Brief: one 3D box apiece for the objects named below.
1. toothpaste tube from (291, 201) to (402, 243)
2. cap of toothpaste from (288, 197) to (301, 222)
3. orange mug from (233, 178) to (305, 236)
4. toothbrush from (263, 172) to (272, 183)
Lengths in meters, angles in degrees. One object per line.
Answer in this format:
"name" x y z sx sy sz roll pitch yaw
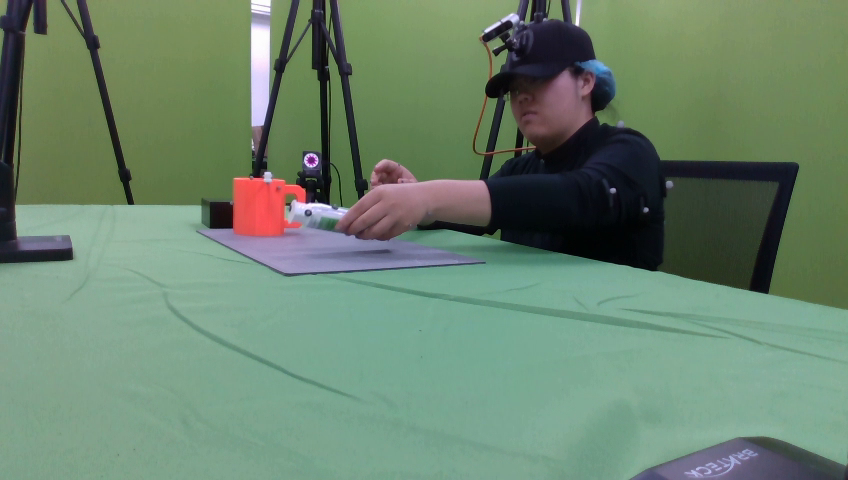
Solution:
"toothpaste tube" -0.115 -0.028 0.887 0.166 0.034 0.055 13 -34 -29
"cap of toothpaste" -0.183 -0.043 0.852 0.011 0.037 0.037 12 2 -25
"orange mug" -0.273 -0.061 1.067 0.127 0.101 0.083 -5 10 -24
"toothbrush" -0.273 -0.112 1.055 0.014 0.016 0.181 -7 9 -13
